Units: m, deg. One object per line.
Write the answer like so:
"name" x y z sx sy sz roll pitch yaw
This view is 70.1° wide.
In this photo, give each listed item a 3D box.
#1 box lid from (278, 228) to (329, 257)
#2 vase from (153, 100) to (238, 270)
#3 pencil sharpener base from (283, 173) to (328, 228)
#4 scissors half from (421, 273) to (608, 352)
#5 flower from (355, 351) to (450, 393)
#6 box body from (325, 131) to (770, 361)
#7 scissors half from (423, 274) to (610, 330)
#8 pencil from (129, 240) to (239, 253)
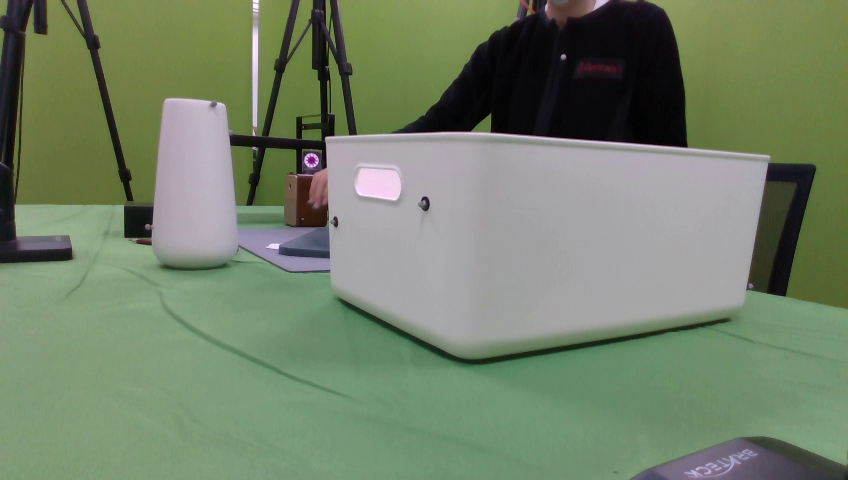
"box lid" -0.019 0.012 0.950 0.371 0.015 0.263 4 7 4
"vase" -0.278 -0.066 0.736 0.098 0.200 0.098 2 9 0
"pencil sharpener base" -0.239 -0.081 1.231 0.077 0.107 0.061 -2 8 -36
"scissors half" 0.076 0.066 0.534 0.174 0.040 0.013 17 57 25
"flower" 0.105 0.076 0.585 0.363 0.044 0.038 -20 38 -14
"box body" 0.112 -0.010 0.583 0.366 0.160 0.253 -2 9 -33
"scissors half" 0.074 0.056 0.523 0.174 0.040 0.013 12 48 29
"pencil" -0.350 0.008 0.874 0.193 0.012 0.012 3 7 19
